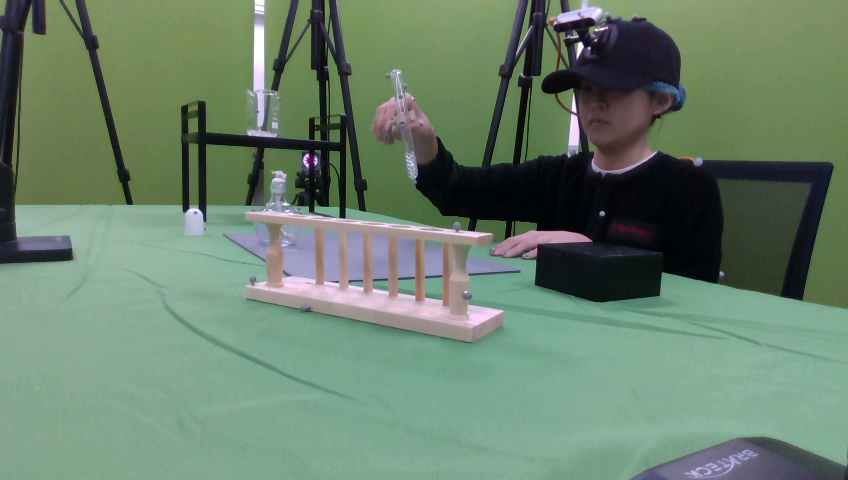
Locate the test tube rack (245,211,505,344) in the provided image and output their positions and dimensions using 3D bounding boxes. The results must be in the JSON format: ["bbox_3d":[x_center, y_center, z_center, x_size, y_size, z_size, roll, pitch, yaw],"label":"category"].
[{"bbox_3d":[-0.049,0.025,0.547,0.241,0.085,0.067,7,8,29],"label":"test tube rack"}]

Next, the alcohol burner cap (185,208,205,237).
[{"bbox_3d":[-0.391,-0.031,1.032,0.034,0.048,0.034,3,8,0],"label":"alcohol burner cap"}]

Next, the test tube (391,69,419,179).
[{"bbox_3d":[-0.025,-0.157,0.822,0.017,0.150,0.017,-9,1,0],"label":"test tube"}]

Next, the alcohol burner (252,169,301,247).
[{"bbox_3d":[-0.227,-0.049,0.937,0.078,0.119,0.078,1,7,0],"label":"alcohol burner"}]

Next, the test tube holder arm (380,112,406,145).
[{"bbox_3d":[-0.047,-0.161,0.887,0.013,0.015,0.178,-5,0,-14],"label":"test tube holder arm"}]

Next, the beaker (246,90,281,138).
[{"bbox_3d":[-0.354,-0.275,1.322,0.074,0.100,0.084,4,8,12],"label":"beaker"}]

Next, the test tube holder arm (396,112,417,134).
[{"bbox_3d":[-0.029,-0.163,0.846,0.010,0.015,0.087,-6,0,-21],"label":"test tube holder arm"}]
